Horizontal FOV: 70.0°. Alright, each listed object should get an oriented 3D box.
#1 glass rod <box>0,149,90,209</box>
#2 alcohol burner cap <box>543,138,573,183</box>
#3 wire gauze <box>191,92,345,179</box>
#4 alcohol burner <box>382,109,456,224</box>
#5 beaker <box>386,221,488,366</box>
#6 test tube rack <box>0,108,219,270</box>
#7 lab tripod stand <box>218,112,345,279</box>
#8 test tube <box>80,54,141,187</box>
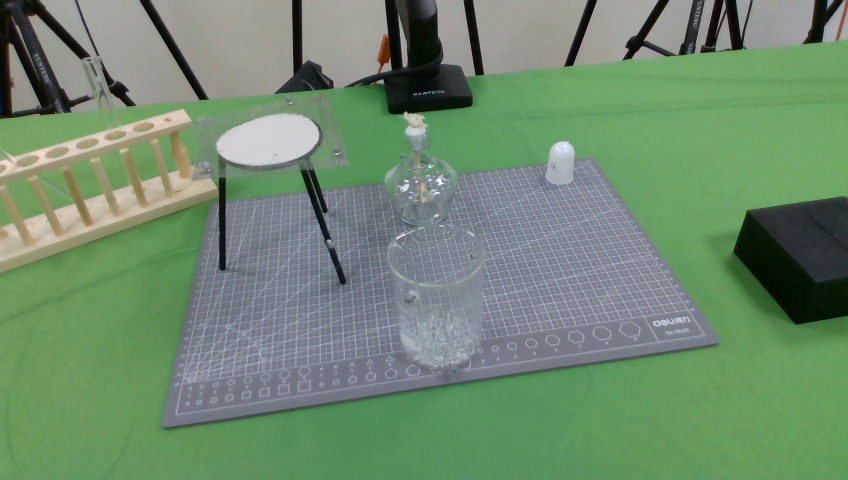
[{"bbox_3d":[-0.417,-0.085,0.595,0.008,0.202,0.008,-17,51,23],"label":"glass rod"},{"bbox_3d":[0.152,-0.092,0.685,0.034,0.048,0.033,-2,40,2],"label":"alcohol burner cap"},{"bbox_3d":[-0.138,-0.091,0.525,0.125,0.011,0.120,-11,40,-9],"label":"wire gauze"},{"bbox_3d":[-0.007,-0.077,0.621,0.078,0.120,0.077,-3,38,3],"label":"alcohol burner"},{"bbox_3d":[0.009,0.045,0.484,0.083,0.101,0.074,24,47,30],"label":"beaker"},{"bbox_3d":[-0.357,-0.057,0.646,0.243,0.086,0.066,-23,44,-23],"label":"test tube rack"},{"bbox_3d":[-0.134,-0.040,0.568,0.148,0.133,0.147,-2,42,2],"label":"lab tripod stand"},{"bbox_3d":[-0.331,-0.122,0.645,0.017,0.151,0.017,-1,37,1],"label":"test tube"}]
